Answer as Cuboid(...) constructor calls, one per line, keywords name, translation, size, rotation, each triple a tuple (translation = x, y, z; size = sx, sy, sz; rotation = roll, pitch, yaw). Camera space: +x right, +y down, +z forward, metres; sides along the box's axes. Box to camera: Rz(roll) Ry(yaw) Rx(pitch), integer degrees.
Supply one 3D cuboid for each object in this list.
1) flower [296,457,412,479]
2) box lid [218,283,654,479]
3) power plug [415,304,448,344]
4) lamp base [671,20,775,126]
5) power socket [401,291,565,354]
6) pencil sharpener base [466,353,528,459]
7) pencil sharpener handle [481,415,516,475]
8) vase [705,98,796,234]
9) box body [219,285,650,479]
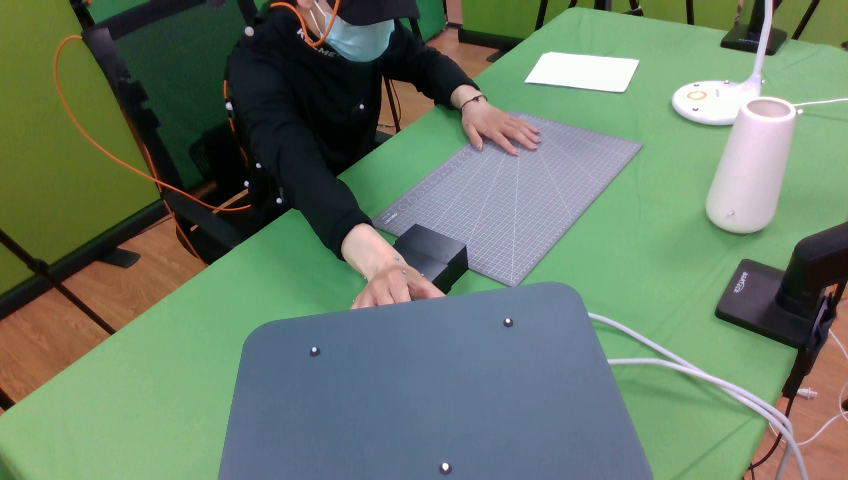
Cuboid(name="flower", translation=(0.017, 0.270, 0.655), size=(0.360, 0.038, 0.044), rotation=(3, 18, 21))
Cuboid(name="box lid", translation=(-0.004, 0.154, 0.571), size=(0.372, 0.015, 0.261), rotation=(-8, 40, -1))
Cuboid(name="power plug", translation=(0.009, 0.115, 0.777), size=(0.035, 0.053, 0.072), rotation=(-12, 51, 0))
Cuboid(name="lamp base", translation=(0.581, -0.332, 1.154), size=(0.179, 0.181, 0.160), rotation=(2, 41, 7))
Cuboid(name="power socket", translation=(0.079, 0.111, 0.823), size=(0.227, 0.033, 0.072), rotation=(-5, 41, 2))
Cuboid(name="pencil sharpener base", translation=(0.081, 0.186, 0.665), size=(0.061, 0.107, 0.076), rotation=(-4, 42, 5))
Cuboid(name="pencil sharpener handle", translation=(0.076, 0.211, 0.619), size=(0.036, 0.068, 0.030), rotation=(1, 42, 1))
Cuboid(name="vase", translation=(0.480, -0.103, 0.889), size=(0.098, 0.201, 0.097), rotation=(-4, 42, 4))
Cuboid(name="box body", translation=(0.005, 0.210, 0.618), size=(0.364, 0.161, 0.252), rotation=(-8, 40, -1))
